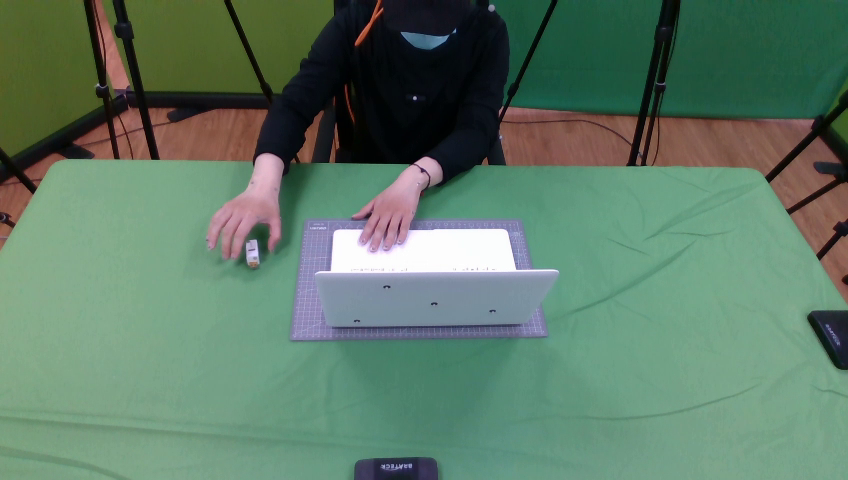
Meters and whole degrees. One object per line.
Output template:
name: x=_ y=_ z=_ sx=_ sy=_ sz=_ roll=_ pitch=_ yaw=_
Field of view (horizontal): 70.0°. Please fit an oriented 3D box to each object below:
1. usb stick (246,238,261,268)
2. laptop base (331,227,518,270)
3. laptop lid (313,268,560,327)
usb stick: x=-0.322 y=0.026 z=1.145 sx=0.021 sy=0.027 sz=0.059 roll=-9 pitch=52 yaw=-10
laptop base: x=0.003 y=0.063 z=1.135 sx=0.355 sy=0.023 sz=0.234 roll=-1 pitch=43 yaw=-4
laptop lid: x=0.015 y=0.095 z=0.949 sx=0.357 sy=0.242 sz=0.013 roll=0 pitch=64 yaw=-5
